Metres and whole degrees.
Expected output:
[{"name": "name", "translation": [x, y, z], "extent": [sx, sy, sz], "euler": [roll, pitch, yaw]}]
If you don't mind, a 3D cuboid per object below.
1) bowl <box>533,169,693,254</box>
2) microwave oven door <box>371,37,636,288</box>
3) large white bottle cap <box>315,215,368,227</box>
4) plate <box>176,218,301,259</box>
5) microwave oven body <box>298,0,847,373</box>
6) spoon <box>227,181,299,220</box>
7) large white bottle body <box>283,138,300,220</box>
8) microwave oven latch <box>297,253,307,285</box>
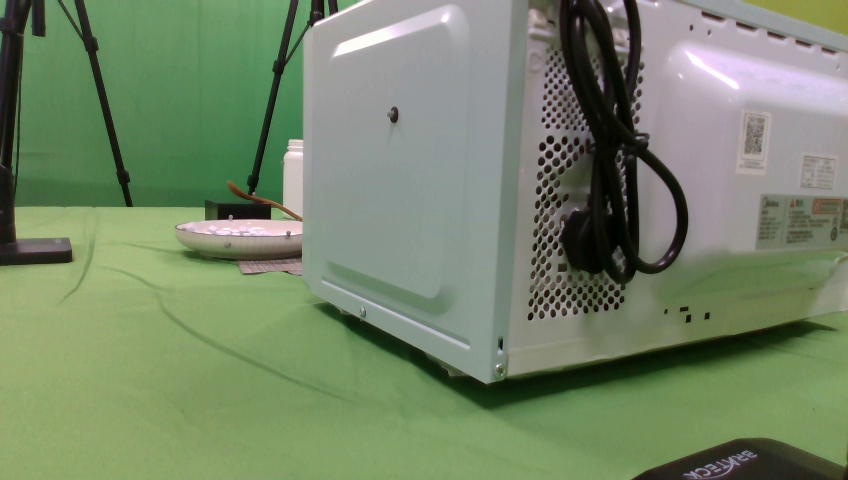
[{"name": "bowl", "translation": [0.181, -0.030, 0.596], "extent": [0.151, 0.077, 0.151], "euler": [1, 7, 0]}, {"name": "microwave oven door", "translation": [0.109, -0.080, 0.686], "extent": [0.358, 0.243, 0.039], "euler": [-2, 9, -33]}, {"name": "large white bottle cap", "translation": [-0.178, -0.041, 1.308], "extent": [0.115, 0.018, 0.115], "euler": [2, 6, 0]}, {"name": "plate", "translation": [-0.248, -0.003, 0.877], "extent": [0.209, 0.038, 0.209], "euler": [1, 8, 0]}, {"name": "microwave oven body", "translation": [0.151, -0.055, 0.542], "extent": [0.444, 0.260, 0.324], "euler": [-1, 7, -33]}, {"name": "spoon", "translation": [-0.315, -0.074, 1.234], "extent": [0.195, 0.021, 0.041], "euler": [24, -9, -37]}, {"name": "large white bottle body", "translation": [-0.265, -0.143, 1.423], "extent": [0.131, 0.184, 0.130], "euler": [2, 7, 0]}, {"name": "microwave oven latch", "translation": [-0.082, 0.027, 0.582], "extent": [0.079, 0.029, 0.030], "euler": [-1, 7, -33]}]
